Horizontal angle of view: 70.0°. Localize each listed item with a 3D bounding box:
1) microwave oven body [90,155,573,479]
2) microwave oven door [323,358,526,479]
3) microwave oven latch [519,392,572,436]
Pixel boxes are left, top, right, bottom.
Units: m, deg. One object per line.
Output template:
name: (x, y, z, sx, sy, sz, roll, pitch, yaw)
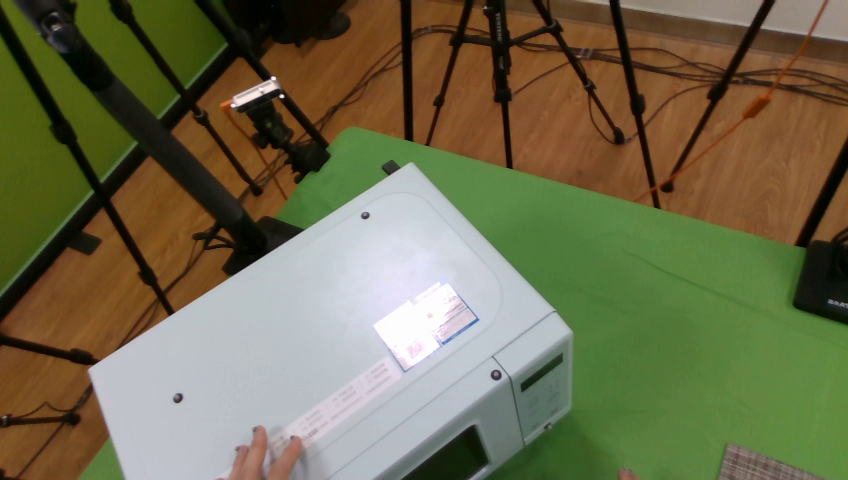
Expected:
microwave oven body: (-0.094, 0.165, 0.734, 0.441, 0.263, 0.322, -35, 57, -10)
microwave oven door: (-0.049, 0.278, 0.643, 0.356, 0.246, 0.039, -34, 55, -10)
microwave oven latch: (0.150, 0.212, 0.766, 0.079, 0.030, 0.030, -33, 57, -9)
